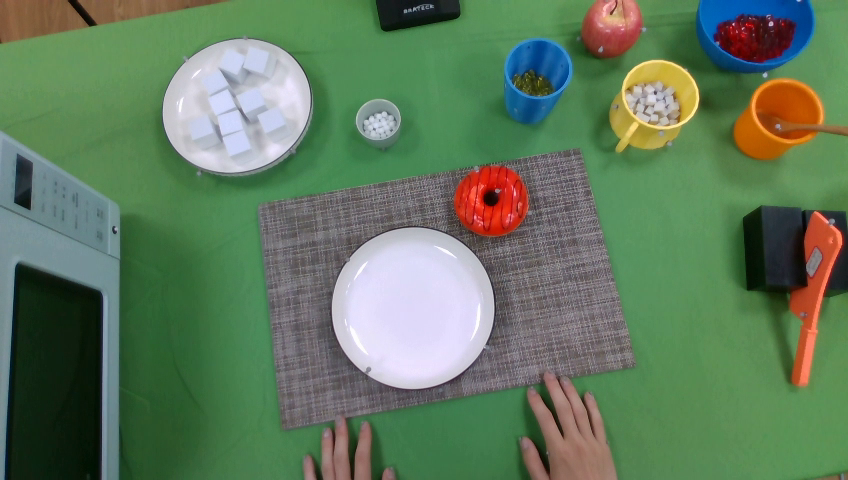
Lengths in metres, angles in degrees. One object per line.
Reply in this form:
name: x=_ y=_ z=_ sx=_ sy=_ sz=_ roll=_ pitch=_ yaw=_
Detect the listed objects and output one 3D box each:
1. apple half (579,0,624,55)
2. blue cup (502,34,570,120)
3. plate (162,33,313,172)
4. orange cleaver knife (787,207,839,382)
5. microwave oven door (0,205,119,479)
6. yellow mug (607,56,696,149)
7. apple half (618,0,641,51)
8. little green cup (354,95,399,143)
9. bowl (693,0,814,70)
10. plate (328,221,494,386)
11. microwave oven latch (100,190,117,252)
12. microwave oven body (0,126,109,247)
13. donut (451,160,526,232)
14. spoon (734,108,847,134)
apple half: x=0.242 y=-0.299 z=0.841 sx=0.053 sy=0.075 sz=0.080 roll=-5 pitch=79 yaw=4
blue cup: x=0.142 y=-0.208 z=0.808 sx=0.092 sy=0.100 sz=0.092 roll=0 pitch=77 yaw=1
plate: x=-0.256 y=-0.189 z=0.848 sx=0.207 sy=0.039 sz=0.206 roll=0 pitch=76 yaw=2
orange cleaver knife: x=0.463 y=0.067 z=0.737 sx=0.012 sy=0.077 sz=0.212 roll=4 pitch=105 yaw=6
microwave oven door: x=-0.400 y=0.161 z=0.641 sx=0.039 sy=0.245 sz=0.353 roll=-7 pitch=75 yaw=0
yellow mug: x=0.294 y=-0.174 z=0.812 sx=0.099 sy=0.064 sz=0.130 roll=37 pitch=81 yaw=11
apple half: x=0.281 y=-0.303 z=0.839 sx=0.033 sy=0.082 sz=0.081 roll=-5 pitch=75 yaw=4
little green cup: x=-0.064 y=-0.164 z=0.836 sx=0.061 sy=0.039 sz=0.061 roll=0 pitch=76 yaw=2
bowl: x=0.435 y=-0.292 z=0.830 sx=0.151 sy=0.077 sz=0.150 roll=0 pitch=77 yaw=2
plate: x=-0.016 y=0.080 z=0.769 sx=0.209 sy=0.038 sz=0.208 roll=0 pitch=76 yaw=2
microwave oven latch: x=-0.420 y=-0.024 z=0.793 sx=0.030 sy=0.029 sz=0.078 roll=-6 pitch=76 yaw=0
microwave oven body: x=-0.550 y=0.139 z=0.656 sx=0.326 sy=0.261 sz=0.439 roll=-7 pitch=76 yaw=0
donut: x=0.085 y=-0.058 z=0.797 sx=0.099 sy=0.048 sz=0.098 roll=0 pitch=78 yaw=2
spoon: x=0.482 y=-0.143 z=0.755 sx=0.041 sy=0.192 sz=0.022 roll=-51 pitch=123 yaw=-10
